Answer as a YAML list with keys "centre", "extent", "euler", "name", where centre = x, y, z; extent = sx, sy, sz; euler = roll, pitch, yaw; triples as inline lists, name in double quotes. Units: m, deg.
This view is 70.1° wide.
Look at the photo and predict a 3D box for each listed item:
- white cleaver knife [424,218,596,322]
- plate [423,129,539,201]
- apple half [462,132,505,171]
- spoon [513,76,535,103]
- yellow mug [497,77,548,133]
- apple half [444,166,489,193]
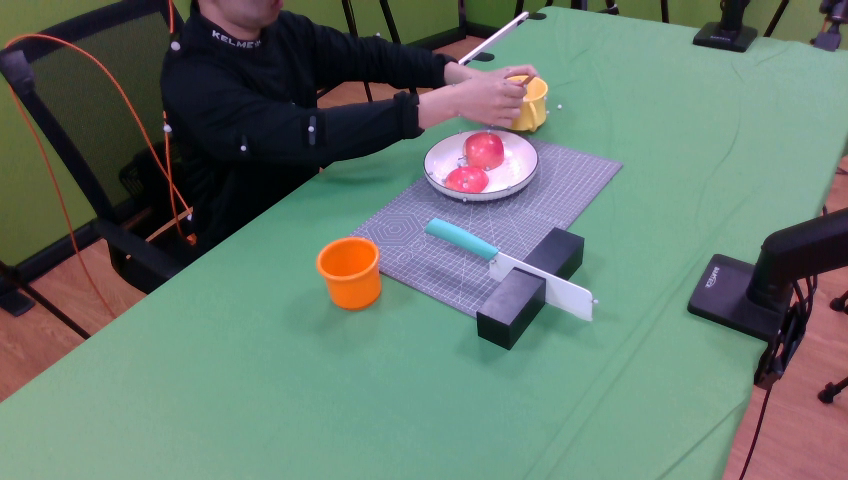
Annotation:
- centre: [0.114, 0.042, 0.865]
  extent: [0.284, 0.066, 0.021]
  euler: [27, 47, 28]
  name: "white cleaver knife"
- centre: [0.103, -0.132, 1.092]
  extent: [0.209, 0.038, 0.208]
  euler: [-4, 40, 4]
  name: "plate"
- centre: [0.110, -0.169, 1.110]
  extent: [0.075, 0.053, 0.080]
  euler: [-6, 40, -2]
  name: "apple half"
- centre: [0.181, -0.273, 1.129]
  extent: [0.041, 0.194, 0.021]
  euler: [-23, 85, -2]
  name: "spoon"
- centre: [0.199, -0.260, 1.190]
  extent: [0.100, 0.064, 0.130]
  euler: [-14, 46, -6]
  name: "yellow mug"
- centre: [0.074, -0.112, 1.062]
  extent: [0.081, 0.033, 0.081]
  euler: [-6, 39, 5]
  name: "apple half"
